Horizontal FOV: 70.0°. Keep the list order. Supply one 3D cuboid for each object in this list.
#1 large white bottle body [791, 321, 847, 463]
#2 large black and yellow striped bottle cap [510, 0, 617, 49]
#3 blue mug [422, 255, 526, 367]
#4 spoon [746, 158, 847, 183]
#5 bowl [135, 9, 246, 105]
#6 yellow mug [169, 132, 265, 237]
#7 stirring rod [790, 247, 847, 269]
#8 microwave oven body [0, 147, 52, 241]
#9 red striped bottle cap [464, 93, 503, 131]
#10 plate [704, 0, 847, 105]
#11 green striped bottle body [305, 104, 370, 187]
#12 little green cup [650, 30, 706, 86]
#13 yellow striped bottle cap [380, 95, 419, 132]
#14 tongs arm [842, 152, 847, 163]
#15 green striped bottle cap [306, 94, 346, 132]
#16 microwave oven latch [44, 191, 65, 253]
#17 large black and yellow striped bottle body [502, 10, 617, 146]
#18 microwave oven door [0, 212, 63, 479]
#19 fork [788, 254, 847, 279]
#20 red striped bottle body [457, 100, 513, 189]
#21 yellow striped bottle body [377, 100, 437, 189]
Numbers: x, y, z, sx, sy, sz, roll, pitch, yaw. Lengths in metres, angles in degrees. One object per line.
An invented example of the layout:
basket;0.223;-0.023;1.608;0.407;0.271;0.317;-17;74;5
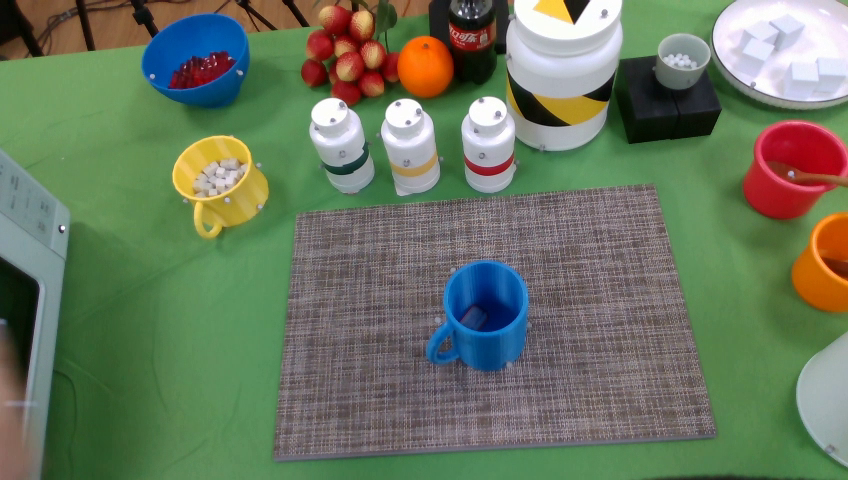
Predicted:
large white bottle body;0.419;0.118;0.519;0.130;0.186;0.129;-3;61;5
large black and yellow striped bottle cap;0.150;-0.257;0.658;0.115;0.019;0.114;-4;62;8
blue mug;0.048;0.085;0.623;0.116;0.107;0.081;-33;62;-11
spoon;0.422;-0.068;0.645;0.041;0.192;0.022;-20;106;-8
bowl;-0.318;-0.248;0.867;0.151;0.077;0.150;-3;61;5
yellow mug;-0.266;-0.066;0.769;0.100;0.064;0.130;5;63;9
stirring rod;0.440;0.029;0.592;0.014;0.006;0.175;-28;20;-14
microwave oven body;-0.596;0.115;0.594;0.326;0.262;0.437;-13;61;-1
red striped bottle cap;0.067;-0.145;0.681;0.044;0.018;0.044;-1;60;2
plate;0.477;-0.255;0.801;0.209;0.038;0.207;-3;62;5
green striped bottle body;-0.107;-0.123;0.750;0.063;0.120;0.062;-3;61;5
little green cup;0.309;-0.222;0.744;0.061;0.039;0.061;-2;59;3
yellow striped bottle cap;-0.028;-0.145;0.693;0.044;0.019;0.044;-1;58;2
tongs arm;0.636;0.008;0.639;0.051;0.027;0.381;-36;64;-17
green striped bottle cap;-0.114;-0.148;0.705;0.044;0.020;0.044;-2;60;4
microwave oven latch;-0.475;-0.021;0.764;0.030;0.030;0.078;-12;62;0
large black and yellow striped bottle body;0.159;-0.217;0.733;0.130;0.185;0.129;-3;61;6
microwave oven door;-0.446;0.116;0.569;0.039;0.246;0.352;-13;61;0
fork;0.469;0.013;0.591;0.206;0.019;0.028;-18;45;50
red striped bottle body;0.074;-0.119;0.727;0.063;0.121;0.062;-4;60;8
yellow striped bottle body;-0.021;-0.121;0.738;0.063;0.121;0.062;-3;60;6
